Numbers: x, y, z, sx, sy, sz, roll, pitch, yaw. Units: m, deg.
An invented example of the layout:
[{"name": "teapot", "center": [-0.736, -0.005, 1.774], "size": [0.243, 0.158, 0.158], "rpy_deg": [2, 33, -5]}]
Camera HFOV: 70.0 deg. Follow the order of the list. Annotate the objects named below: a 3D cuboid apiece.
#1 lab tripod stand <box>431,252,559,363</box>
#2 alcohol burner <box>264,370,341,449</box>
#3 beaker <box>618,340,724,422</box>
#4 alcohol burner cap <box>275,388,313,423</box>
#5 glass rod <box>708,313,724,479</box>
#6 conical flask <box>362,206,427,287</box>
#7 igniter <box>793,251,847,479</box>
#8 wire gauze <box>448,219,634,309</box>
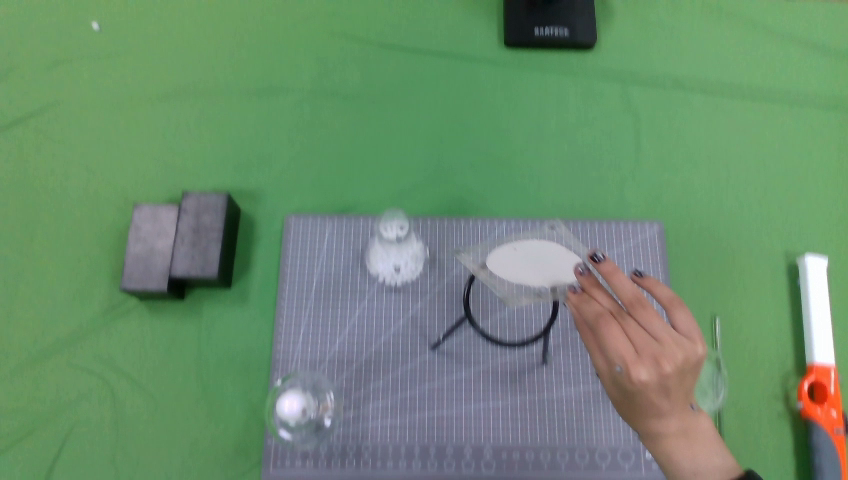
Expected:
[{"name": "lab tripod stand", "center": [0.076, 0.076, 0.620], "size": [0.148, 0.132, 0.147], "rpy_deg": [0, 75, -1]}, {"name": "alcohol burner", "center": [-0.123, 0.165, 0.597], "size": [0.078, 0.120, 0.077], "rpy_deg": [0, 72, 1]}, {"name": "beaker", "center": [0.250, 0.145, 0.622], "size": [0.084, 0.101, 0.073], "rpy_deg": [-35, 77, -12]}, {"name": "alcohol burner cap", "center": [-0.122, 0.154, 0.563], "size": [0.034, 0.048, 0.033], "rpy_deg": [1, 76, -5]}, {"name": "glass rod", "center": [0.321, 0.178, 0.665], "size": [0.008, 0.008, 0.198], "rpy_deg": [5, 73, 0]}, {"name": "conical flask", "center": [-0.033, 0.001, 0.645], "size": [0.075, 0.122, 0.075], "rpy_deg": [0, 72, -1]}, {"name": "igniter", "center": [0.434, 0.147, 0.667], "size": [0.057, 0.025, 0.275], "rpy_deg": [9, 73, -10]}, {"name": "wire gauze", "center": [0.100, 0.019, 0.542], "size": [0.125, 0.011, 0.120], "rpy_deg": [-11, 31, -18]}]
